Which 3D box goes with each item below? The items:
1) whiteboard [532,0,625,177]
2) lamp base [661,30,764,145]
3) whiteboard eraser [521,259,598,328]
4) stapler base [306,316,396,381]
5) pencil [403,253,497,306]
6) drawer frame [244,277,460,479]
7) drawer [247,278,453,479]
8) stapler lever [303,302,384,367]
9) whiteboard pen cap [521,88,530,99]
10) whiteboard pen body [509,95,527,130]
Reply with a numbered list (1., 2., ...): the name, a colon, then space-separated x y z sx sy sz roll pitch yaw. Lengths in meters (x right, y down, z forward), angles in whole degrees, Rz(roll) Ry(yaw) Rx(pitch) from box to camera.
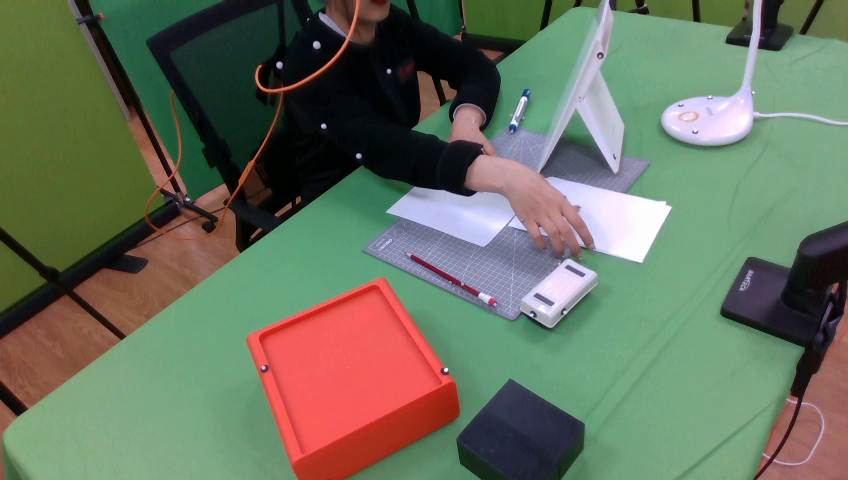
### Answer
1. whiteboard: 0.321 -0.258 1.050 0.144 0.306 0.217 21 45 5
2. lamp base: 0.535 -0.287 1.096 0.179 0.181 0.159 -10 40 -4
3. whiteboard eraser: 0.189 0.076 0.843 0.055 0.042 0.113 29 53 37
4. stapler base: -0.101 0.139 0.819 0.131 0.024 0.041 -31 37 -13
5. pencil: 0.034 0.056 0.914 0.192 0.012 0.012 27 52 38
6. drawer frame: -0.093 0.167 0.755 0.202 0.083 0.211 -23 43 -17
7. drawer: -0.096 0.167 0.758 0.195 0.073 0.210 -22 43 -17
8. stapler lever: -0.108 0.124 0.805 0.118 0.040 0.026 -27 36 -15
9. whiteboard pen cap: 0.219 -0.312 1.301 0.018 0.018 0.033 7 46 18
10. whiteboard pen body: 0.199 -0.272 1.262 0.017 0.017 0.140 8 44 19
